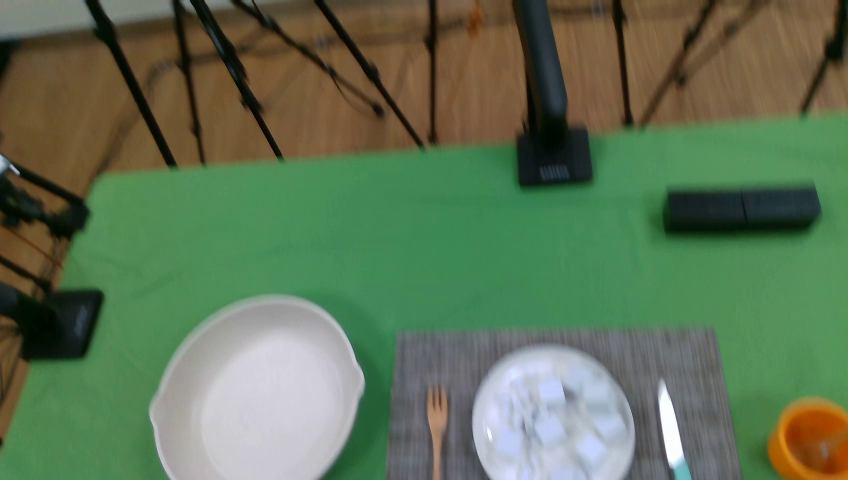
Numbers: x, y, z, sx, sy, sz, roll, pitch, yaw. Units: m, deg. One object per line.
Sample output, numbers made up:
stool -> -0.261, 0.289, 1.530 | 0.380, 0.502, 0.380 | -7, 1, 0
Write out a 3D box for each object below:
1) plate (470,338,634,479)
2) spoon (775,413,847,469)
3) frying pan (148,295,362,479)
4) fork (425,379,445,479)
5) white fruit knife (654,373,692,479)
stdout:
plate -> 0.164, 0.232, 0.793 | 0.207, 0.039, 0.206 | -5, 60, 9
spoon -> 0.484, 0.202, 0.689 | 0.022, 0.194, 0.041 | -4, 50, -44
frying pan -> -0.224, 0.302, 0.793 | 0.306, 0.104, 0.483 | -9, 51, 7
fork -> 0.014, 0.287, 0.802 | 0.028, 0.019, 0.205 | 1, 59, -1
white fruit knife -> 0.315, 0.266, 0.759 | 0.027, 0.016, 0.205 | -3, 60, 4
